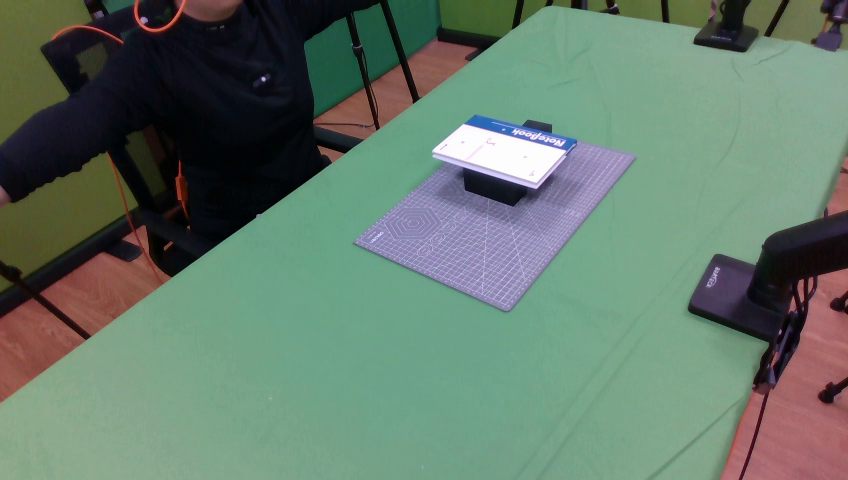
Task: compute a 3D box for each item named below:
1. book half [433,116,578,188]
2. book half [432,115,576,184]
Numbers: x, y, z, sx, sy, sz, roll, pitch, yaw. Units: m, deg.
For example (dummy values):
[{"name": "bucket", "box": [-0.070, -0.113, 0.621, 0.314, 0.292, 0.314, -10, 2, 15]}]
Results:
[{"name": "book half", "box": [0.140, -0.160, 1.060, 0.208, 0.016, 0.149, 22, 47, 30]}, {"name": "book half", "box": [0.138, -0.164, 1.054, 0.208, 0.007, 0.143, 22, 48, 29]}]
